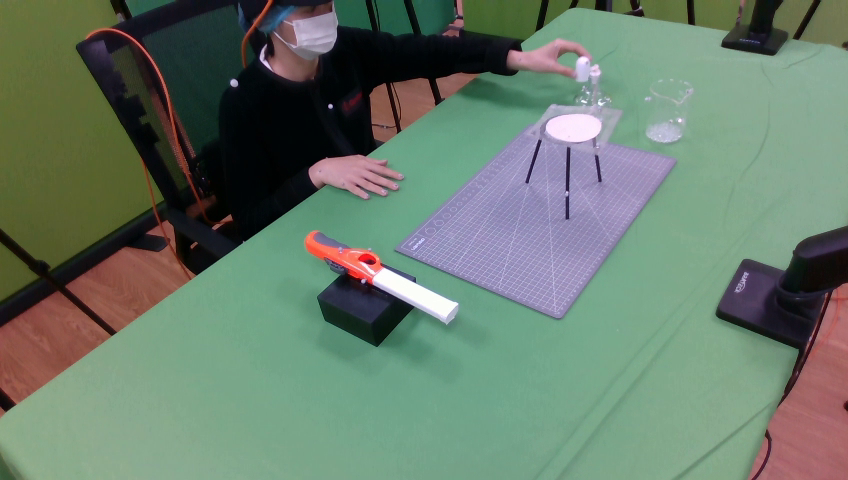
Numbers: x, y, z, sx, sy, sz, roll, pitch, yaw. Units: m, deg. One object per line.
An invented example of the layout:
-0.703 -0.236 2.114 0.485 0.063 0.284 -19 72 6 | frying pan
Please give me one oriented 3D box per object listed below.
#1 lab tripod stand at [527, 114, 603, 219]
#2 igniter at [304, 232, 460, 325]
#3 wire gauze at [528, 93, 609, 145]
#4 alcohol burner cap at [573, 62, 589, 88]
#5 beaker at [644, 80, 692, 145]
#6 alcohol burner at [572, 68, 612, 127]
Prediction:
0.234 -0.129 1.002 0.148 0.132 0.147 -6 40 6 | lab tripod stand
-0.070 0.048 0.853 0.274 0.025 0.057 24 48 29 | igniter
0.225 -0.188 0.943 0.121 0.011 0.124 6 48 9 | wire gauze
0.325 -0.343 1.247 0.034 0.048 0.033 -5 46 5 | alcohol burner cap
0.451 -0.233 1.122 0.074 0.101 0.083 -8 40 1 | beaker
0.333 -0.285 1.192 0.078 0.119 0.077 -4 42 4 | alcohol burner
